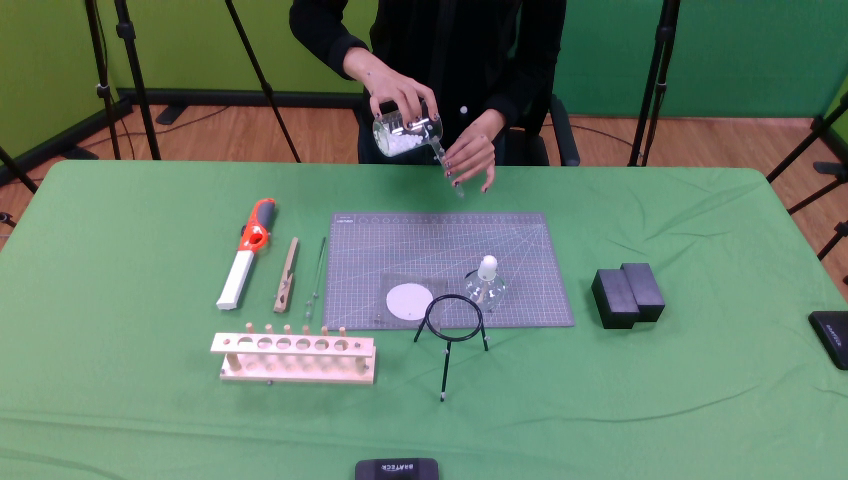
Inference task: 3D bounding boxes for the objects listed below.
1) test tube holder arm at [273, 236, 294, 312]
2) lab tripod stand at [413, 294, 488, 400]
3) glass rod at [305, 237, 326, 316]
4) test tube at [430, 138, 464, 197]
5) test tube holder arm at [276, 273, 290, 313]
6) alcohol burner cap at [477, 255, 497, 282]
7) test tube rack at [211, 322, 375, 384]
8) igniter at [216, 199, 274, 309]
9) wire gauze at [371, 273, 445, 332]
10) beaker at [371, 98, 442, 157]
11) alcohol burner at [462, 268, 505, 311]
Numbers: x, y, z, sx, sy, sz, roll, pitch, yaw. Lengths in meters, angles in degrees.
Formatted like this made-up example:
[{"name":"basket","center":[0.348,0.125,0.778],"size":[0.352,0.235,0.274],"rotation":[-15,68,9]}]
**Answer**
[{"name":"test tube holder arm","center":[-0.259,0.059,1.123],"size":[0.013,0.015,0.177],"rotation":[28,38,-28]},{"name":"lab tripod stand","center":[0.045,0.159,0.972],"size":[0.148,0.132,0.147],"rotation":[3,44,-2]},{"name":"glass rod","center":[-0.202,0.063,1.131],"size":[0.008,0.008,0.198],"rotation":[4,44,0]},{"name":"test tube","center":[0.044,-0.131,1.120],"size":[0.017,0.151,0.017],"rotation":[-14,48,17]},{"name":"test tube holder arm","center":[-0.254,0.093,1.094],"size":[0.010,0.015,0.087],"rotation":[30,38,-27]},{"name":"alcohol burner cap","center":[0.110,0.047,1.046],"size":[0.034,0.048,0.033],"rotation":[2,52,-2]},{"name":"test tube rack","center":[-0.202,0.176,0.969],"size":[0.242,0.085,0.066],"rotation":[3,46,-2]},{"name":"igniter","center":[-0.336,0.017,1.153],"size":[0.057,0.025,0.275],"rotation":[-2,45,8]},{"name":"wire gauze","center":[-0.028,0.109,1.099],"size":[0.125,0.011,0.121],"rotation":[7,45,4]},{"name":"beaker","center":[-0.032,-0.186,1.025],"size":[0.100,0.084,0.073],"rotation":[-23,45,-20]},{"name":"alcohol burner","center":[0.108,0.071,1.072],"size":[0.078,0.119,0.077],"rotation":[4,45,-4]}]
